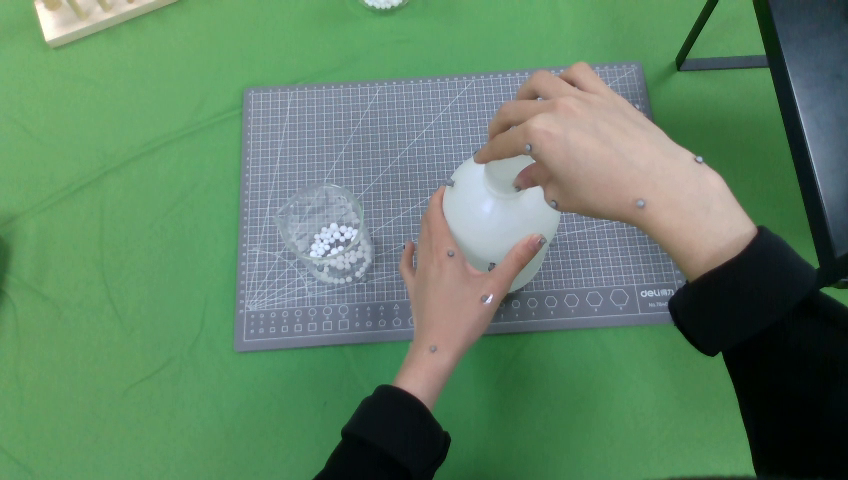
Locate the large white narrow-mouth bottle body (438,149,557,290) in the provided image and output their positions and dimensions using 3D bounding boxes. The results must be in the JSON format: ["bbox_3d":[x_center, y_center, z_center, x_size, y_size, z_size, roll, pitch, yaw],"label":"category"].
[{"bbox_3d":[0.064,-0.024,0.531,0.102,0.196,0.101,-1,71,4],"label":"large white narrow-mouth bottle body"}]

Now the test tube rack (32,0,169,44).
[{"bbox_3d":[-0.347,-0.321,0.699,0.242,0.086,0.066,-24,72,-6],"label":"test tube rack"}]

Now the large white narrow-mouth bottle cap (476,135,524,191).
[{"bbox_3d":[0.055,-0.055,0.442,0.038,0.024,0.037,-1,72,4],"label":"large white narrow-mouth bottle cap"}]

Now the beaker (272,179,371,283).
[{"bbox_3d":[-0.092,-0.004,0.577,0.084,0.101,0.073,7,71,5],"label":"beaker"}]

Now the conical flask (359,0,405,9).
[{"bbox_3d":[-0.052,-0.325,0.674,0.075,0.122,0.075,-1,71,2],"label":"conical flask"}]
